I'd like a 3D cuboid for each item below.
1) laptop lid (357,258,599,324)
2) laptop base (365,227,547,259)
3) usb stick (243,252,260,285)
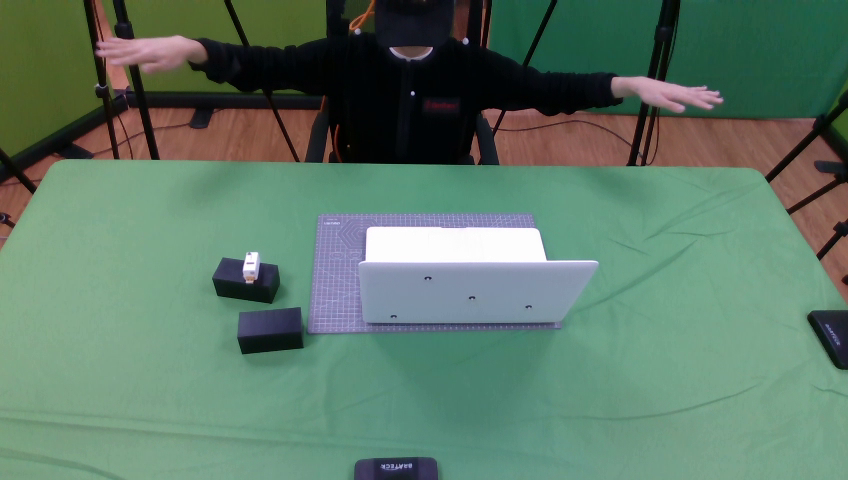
[{"bbox_3d":[0.075,0.087,0.960,0.357,0.242,0.013,1,60,-5],"label":"laptop lid"},{"bbox_3d":[0.064,0.062,1.144,0.355,0.023,0.234,0,43,-4],"label":"laptop base"},{"bbox_3d":[-0.301,0.050,1.055,0.021,0.027,0.059,1,48,-6],"label":"usb stick"}]
